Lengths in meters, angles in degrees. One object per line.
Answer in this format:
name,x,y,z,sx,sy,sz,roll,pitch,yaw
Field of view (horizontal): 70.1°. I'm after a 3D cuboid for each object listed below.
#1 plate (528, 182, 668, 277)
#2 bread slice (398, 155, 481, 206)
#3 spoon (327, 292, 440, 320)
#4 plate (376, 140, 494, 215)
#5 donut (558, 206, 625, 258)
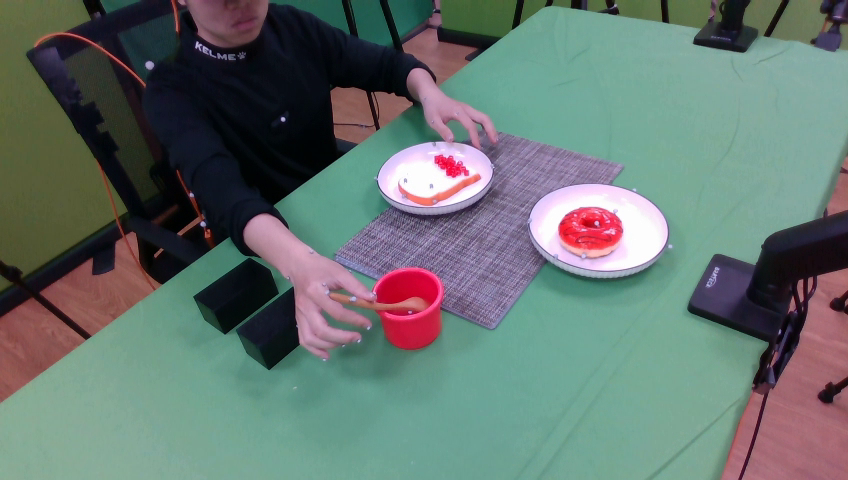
plate,0.264,-0.014,0.933,0.207,0.039,0.206,-3,42,3
bread slice,0.021,-0.106,1.077,0.132,0.019,0.104,-31,46,-28
spoon,-0.046,0.085,0.775,0.195,0.021,0.041,10,25,-45
plate,0.021,-0.106,1.073,0.209,0.038,0.208,-4,40,4
donut,0.254,-0.015,0.917,0.099,0.048,0.098,-5,41,5
